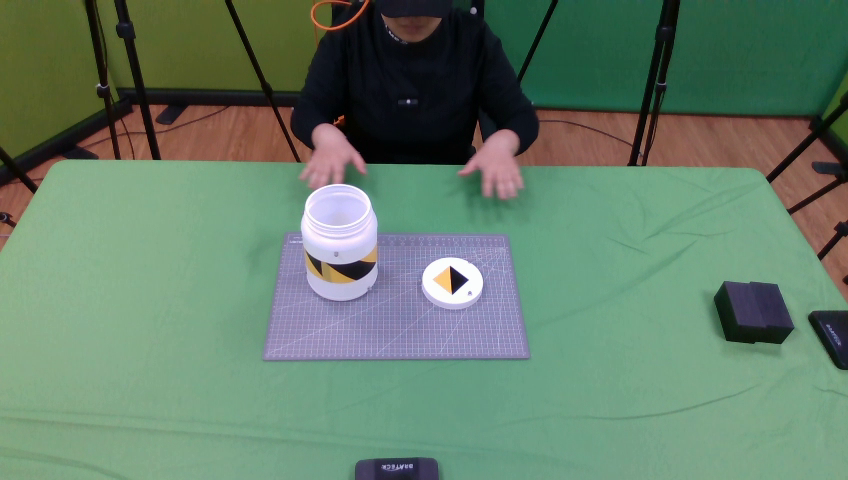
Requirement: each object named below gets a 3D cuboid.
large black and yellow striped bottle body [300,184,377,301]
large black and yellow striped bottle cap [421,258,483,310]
[{"bbox_3d":[-0.148,0.004,1.067,0.131,0.185,0.130,2,46,-2],"label":"large black and yellow striped bottle body"},{"bbox_3d":[0.053,0.080,1.126,0.115,0.019,0.114,2,45,-1],"label":"large black and yellow striped bottle cap"}]
